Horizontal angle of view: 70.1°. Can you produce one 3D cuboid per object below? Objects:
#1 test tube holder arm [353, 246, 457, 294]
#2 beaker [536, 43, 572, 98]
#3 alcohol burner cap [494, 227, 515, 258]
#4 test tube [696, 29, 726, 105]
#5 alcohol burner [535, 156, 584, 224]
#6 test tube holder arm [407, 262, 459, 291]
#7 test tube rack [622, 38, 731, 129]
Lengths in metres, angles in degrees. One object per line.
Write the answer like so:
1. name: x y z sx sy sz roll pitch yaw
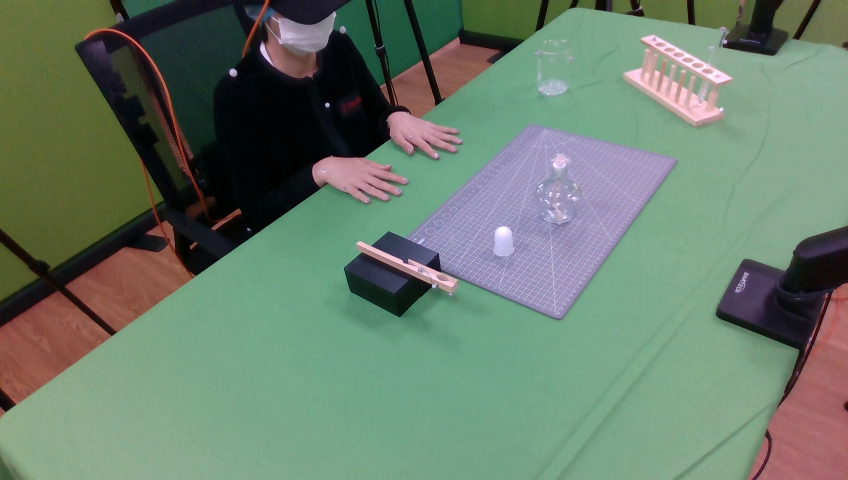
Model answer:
1. test tube holder arm: -0.031 0.040 0.863 0.177 0.015 0.013 18 36 27
2. beaker: 0.280 -0.368 1.311 0.074 0.101 0.084 4 41 14
3. alcohol burner cap: 0.124 0.001 0.936 0.034 0.048 0.033 -4 40 4
4. test tube: 0.544 -0.326 1.150 0.017 0.151 0.017 0 41 1
5. alcohol burner: 0.217 -0.085 0.967 0.078 0.119 0.077 -3 41 3
6. test tube holder arm: 0.010 0.051 0.845 0.087 0.015 0.010 19 37 29
7. test tube rack: 0.506 -0.325 1.234 0.067 0.085 0.240 -18 41 -11
